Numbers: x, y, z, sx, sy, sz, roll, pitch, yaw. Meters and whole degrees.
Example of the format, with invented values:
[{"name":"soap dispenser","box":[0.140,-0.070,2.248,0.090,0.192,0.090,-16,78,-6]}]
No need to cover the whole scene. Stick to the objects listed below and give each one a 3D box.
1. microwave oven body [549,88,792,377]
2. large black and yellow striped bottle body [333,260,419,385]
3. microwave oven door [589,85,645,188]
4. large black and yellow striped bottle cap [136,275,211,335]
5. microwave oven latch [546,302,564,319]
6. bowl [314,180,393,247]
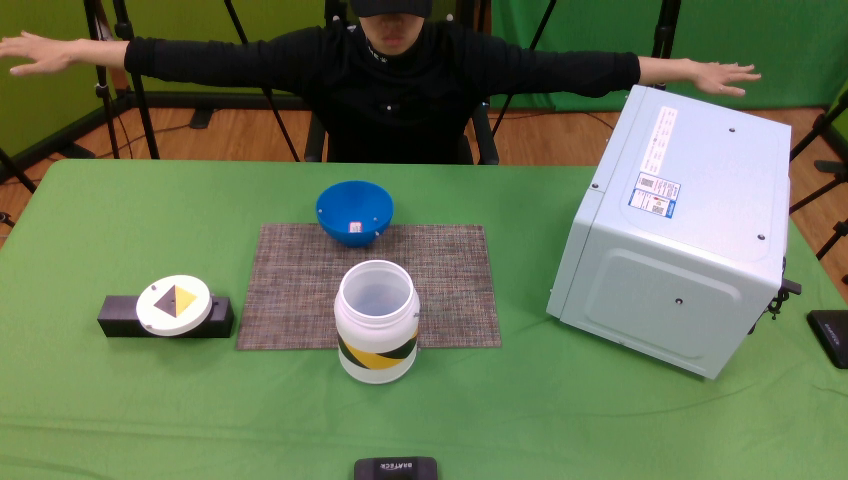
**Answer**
[{"name":"microwave oven body","box":[0.456,-0.028,1.088,0.325,0.261,0.440,20,47,16]},{"name":"large black and yellow striped bottle body","box":[-0.075,0.129,0.950,0.131,0.185,0.130,2,49,-2]},{"name":"microwave oven door","box":[0.341,-0.107,1.149,0.039,0.245,0.354,20,48,15]},{"name":"large black and yellow striped bottle cap","box":[-0.412,0.105,0.999,0.115,0.019,0.114,3,46,-3]},{"name":"microwave oven latch","box":[0.242,0.102,1.081,0.030,0.029,0.079,21,48,17]},{"name":"bowl","box":[-0.135,-0.040,1.180,0.151,0.077,0.150,3,46,-2]}]
